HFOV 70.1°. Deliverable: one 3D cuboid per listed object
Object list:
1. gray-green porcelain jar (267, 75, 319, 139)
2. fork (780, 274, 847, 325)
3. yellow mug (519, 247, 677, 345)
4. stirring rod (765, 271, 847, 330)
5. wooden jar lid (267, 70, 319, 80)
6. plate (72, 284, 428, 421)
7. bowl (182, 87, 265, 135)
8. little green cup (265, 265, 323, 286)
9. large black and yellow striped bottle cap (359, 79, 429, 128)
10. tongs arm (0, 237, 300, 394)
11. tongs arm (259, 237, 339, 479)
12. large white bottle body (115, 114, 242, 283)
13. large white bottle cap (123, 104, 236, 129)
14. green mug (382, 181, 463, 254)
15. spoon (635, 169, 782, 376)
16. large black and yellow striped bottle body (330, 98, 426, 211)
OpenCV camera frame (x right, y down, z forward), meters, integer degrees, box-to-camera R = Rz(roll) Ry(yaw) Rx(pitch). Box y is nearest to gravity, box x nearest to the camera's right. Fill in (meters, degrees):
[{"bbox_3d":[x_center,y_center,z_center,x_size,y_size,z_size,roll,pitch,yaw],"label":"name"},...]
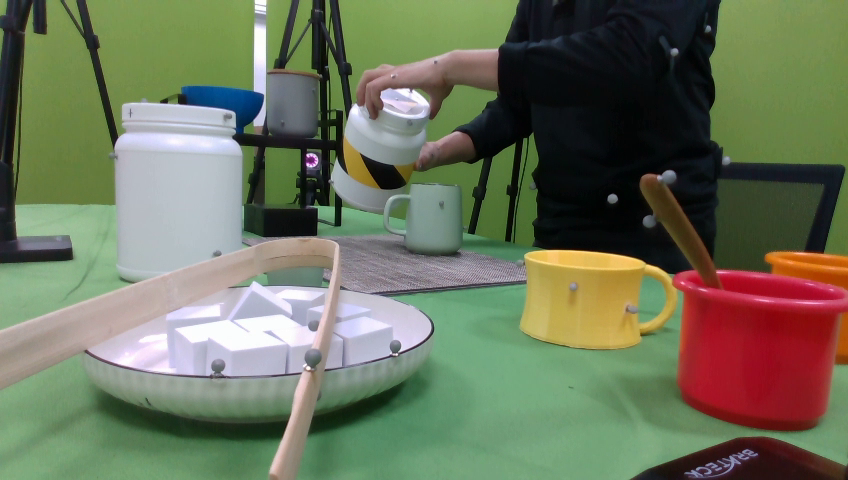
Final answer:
[{"bbox_3d":[-0.277,-0.279,1.280,0.106,0.126,0.106,2,8,0],"label":"gray-green porcelain jar"},{"bbox_3d":[0.332,0.018,0.443,0.028,0.018,0.207,-3,-35,-16],"label":"fork"},{"bbox_3d":[0.148,0.045,0.513,0.131,0.064,0.100,3,6,0],"label":"yellow mug"},{"bbox_3d":[0.352,0.020,0.481,0.176,0.006,0.014,-40,-8,17],"label":"stirring rod"},{"bbox_3d":[-0.275,-0.340,1.271,0.108,0.020,0.108,5,6,0],"label":"wooden jar lid"},{"bbox_3d":[-0.102,0.067,0.381,0.208,0.039,0.207,3,7,0],"label":"plate"},{"bbox_3d":[-0.383,-0.244,1.158,0.151,0.077,0.151,2,6,0],"label":"bowl"},{"bbox_3d":[-0.134,0.033,0.628,0.061,0.038,0.061,3,7,0],"label":"little green cup"},{"bbox_3d":[-0.047,-0.219,0.959,0.115,0.019,0.115,15,39,-12],"label":"large black and yellow striped bottle cap"},{"bbox_3d":[-0.158,0.039,0.346,0.028,0.028,0.388,-3,8,11],"label":"tongs arm"},{"bbox_3d":[-0.074,0.040,0.345,0.051,0.026,0.384,-2,9,-3],"label":"tongs arm"},{"bbox_3d":[-0.270,-0.051,0.673,0.131,0.184,0.130,2,8,0],"label":"large white bottle body"},{"bbox_3d":[-0.266,-0.134,0.663,0.115,0.018,0.115,3,7,0],"label":"large white bottle cap"},{"bbox_3d":[-0.001,-0.036,0.922,0.126,0.105,0.092,0,8,-16],"label":"green mug"},{"bbox_3d":[0.161,0.026,0.346,0.041,0.194,0.021,10,56,53],"label":"spoon"},{"bbox_3d":[-0.074,-0.155,1.011,0.131,0.183,0.130,15,38,-12],"label":"large black and yellow striped bottle body"}]
